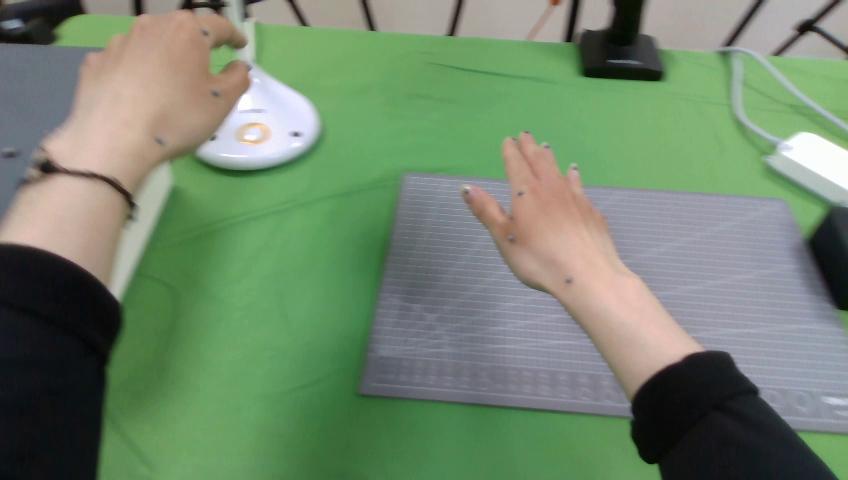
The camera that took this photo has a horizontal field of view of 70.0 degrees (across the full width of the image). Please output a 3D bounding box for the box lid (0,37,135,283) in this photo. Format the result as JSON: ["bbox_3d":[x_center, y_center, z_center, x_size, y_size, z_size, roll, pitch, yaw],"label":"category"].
[{"bbox_3d":[-0.407,-0.058,0.465,0.263,0.015,0.367,1,47,-2],"label":"box lid"}]

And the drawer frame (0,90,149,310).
[{"bbox_3d":[-0.393,-0.049,0.558,0.202,0.083,0.211,9,39,-10],"label":"drawer frame"}]

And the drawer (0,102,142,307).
[{"bbox_3d":[-0.394,-0.047,0.556,0.195,0.074,0.209,10,37,-10],"label":"drawer"}]

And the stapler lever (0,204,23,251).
[{"bbox_3d":[-0.402,-0.024,0.516,0.118,0.040,0.026,20,36,3],"label":"stapler lever"}]

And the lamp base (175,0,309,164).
[{"bbox_3d":[-0.228,-0.209,0.708,0.161,0.182,0.177,-14,46,-15],"label":"lamp base"}]

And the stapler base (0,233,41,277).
[{"bbox_3d":[-0.406,-0.006,0.531,0.130,0.024,0.041,19,35,3],"label":"stapler base"}]

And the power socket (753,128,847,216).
[{"bbox_3d":[0.501,-0.060,0.702,0.072,0.033,0.224,-28,53,-27],"label":"power socket"}]

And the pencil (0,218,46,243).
[{"bbox_3d":[-0.413,-0.027,0.555,0.193,0.012,0.012,19,49,20],"label":"pencil"}]

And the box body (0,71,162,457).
[{"bbox_3d":[-0.410,-0.008,0.521,0.254,0.162,0.360,1,46,-2],"label":"box body"}]
